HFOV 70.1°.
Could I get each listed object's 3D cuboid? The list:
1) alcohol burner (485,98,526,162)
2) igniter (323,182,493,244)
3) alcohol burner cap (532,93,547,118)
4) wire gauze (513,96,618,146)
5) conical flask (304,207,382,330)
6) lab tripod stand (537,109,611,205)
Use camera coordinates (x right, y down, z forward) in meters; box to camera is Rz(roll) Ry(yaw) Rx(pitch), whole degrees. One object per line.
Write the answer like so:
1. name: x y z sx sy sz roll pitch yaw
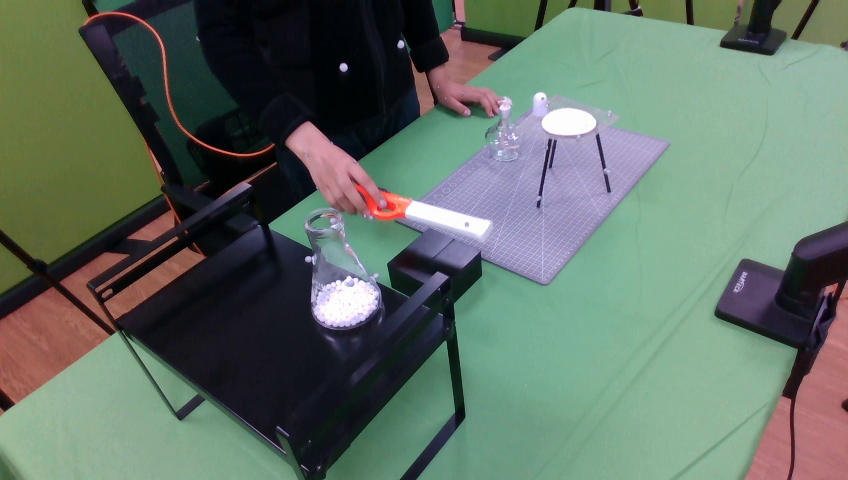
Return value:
1. alcohol burner: 0.151 -0.208 1.122 0.078 0.119 0.077 -5 39 4
2. igniter: -0.031 -0.043 0.888 0.275 0.025 0.057 16 49 25
3. alcohol burner cap: 0.240 -0.281 1.251 0.034 0.048 0.033 -4 42 4
4. wire gauze: 0.229 -0.190 0.969 0.120 0.011 0.125 26 50 33
5. conical flask: -0.088 0.025 0.601 0.075 0.122 0.075 -5 40 5
6. lab tripod stand: 0.244 -0.141 1.014 0.148 0.132 0.147 -3 39 3
